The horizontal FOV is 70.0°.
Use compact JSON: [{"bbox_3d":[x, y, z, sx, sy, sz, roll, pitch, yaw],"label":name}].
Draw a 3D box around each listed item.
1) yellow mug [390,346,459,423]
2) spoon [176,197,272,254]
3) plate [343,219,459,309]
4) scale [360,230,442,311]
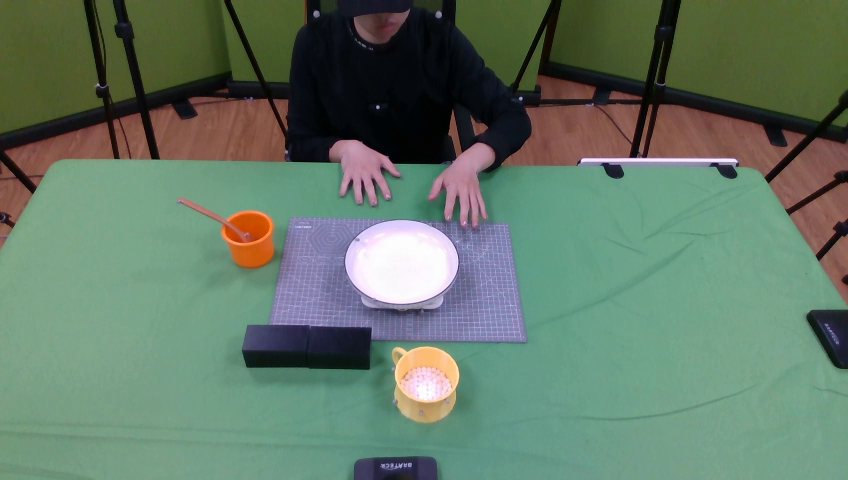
[{"bbox_3d":[-0.009,0.217,0.958,0.100,0.064,0.130,-33,56,-31],"label":"yellow mug"},{"bbox_3d":[-0.362,-0.027,1.108,0.021,0.195,0.041,-35,36,24],"label":"spoon"},{"bbox_3d":[-0.041,0.046,1.094,0.209,0.038,0.208,2,46,-2],"label":"plate"},{"bbox_3d":[-0.042,0.047,1.138,0.149,0.032,0.199,2,46,-3],"label":"scale"}]
